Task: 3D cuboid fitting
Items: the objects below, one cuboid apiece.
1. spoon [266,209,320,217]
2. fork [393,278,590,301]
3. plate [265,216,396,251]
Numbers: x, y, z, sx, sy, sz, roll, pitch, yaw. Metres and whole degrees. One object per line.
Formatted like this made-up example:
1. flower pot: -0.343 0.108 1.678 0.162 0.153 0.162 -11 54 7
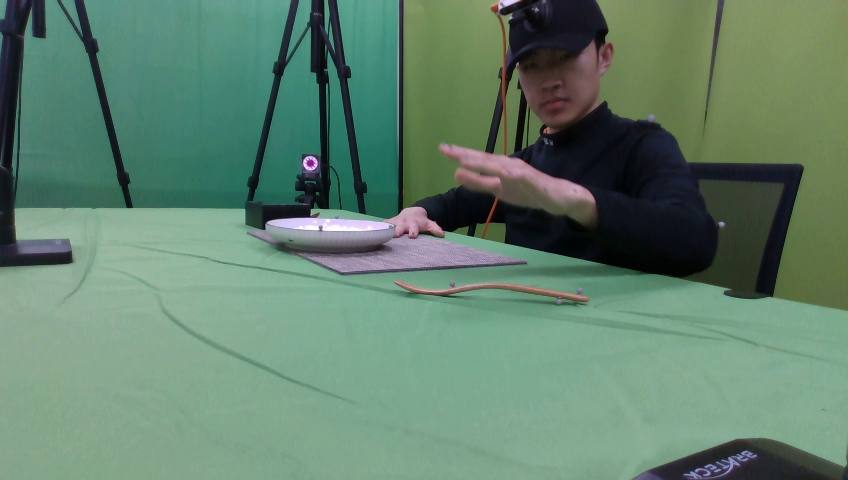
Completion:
1. spoon: -0.315 -0.064 1.434 0.193 0.021 0.042 8 25 39
2. fork: 0.070 0.052 0.640 0.207 0.018 0.028 1 -4 5
3. plate: -0.150 -0.011 0.978 0.209 0.038 0.209 3 7 0
